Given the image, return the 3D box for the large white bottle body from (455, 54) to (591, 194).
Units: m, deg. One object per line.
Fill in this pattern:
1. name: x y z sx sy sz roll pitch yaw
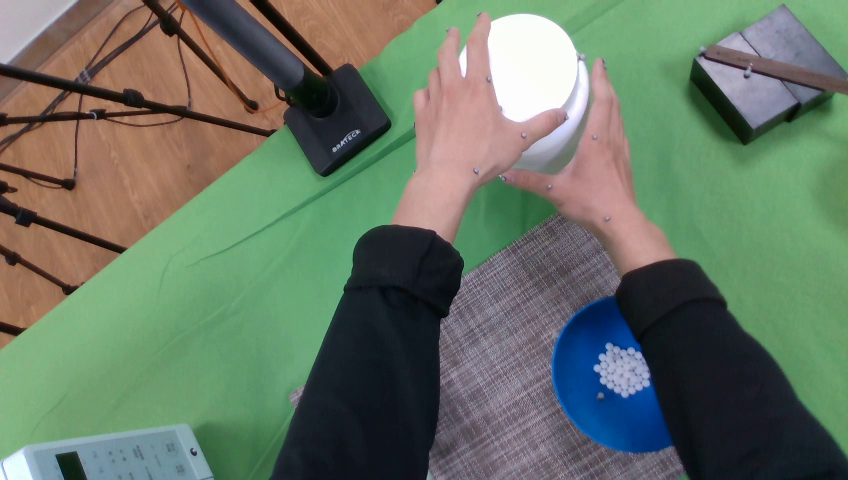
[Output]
1. large white bottle body: 0.107 -0.132 0.642 0.130 0.186 0.130 -3 79 17

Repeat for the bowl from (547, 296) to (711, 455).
1. bowl: 0.206 0.135 0.616 0.151 0.077 0.151 -3 79 18

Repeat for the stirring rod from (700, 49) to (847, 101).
1. stirring rod: 0.365 -0.162 0.604 0.175 0.006 0.014 23 122 20

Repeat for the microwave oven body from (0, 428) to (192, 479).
1. microwave oven body: -0.360 0.481 0.637 0.326 0.262 0.438 -36 72 8

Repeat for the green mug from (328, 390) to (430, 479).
1. green mug: -0.037 0.226 0.663 0.092 0.105 0.124 -43 71 5

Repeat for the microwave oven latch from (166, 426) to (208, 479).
1. microwave oven latch: -0.304 0.272 0.760 0.030 0.030 0.078 -36 72 8

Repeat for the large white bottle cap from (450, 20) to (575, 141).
1. large white bottle cap: 0.081 -0.149 0.563 0.114 0.018 0.114 -3 79 16
